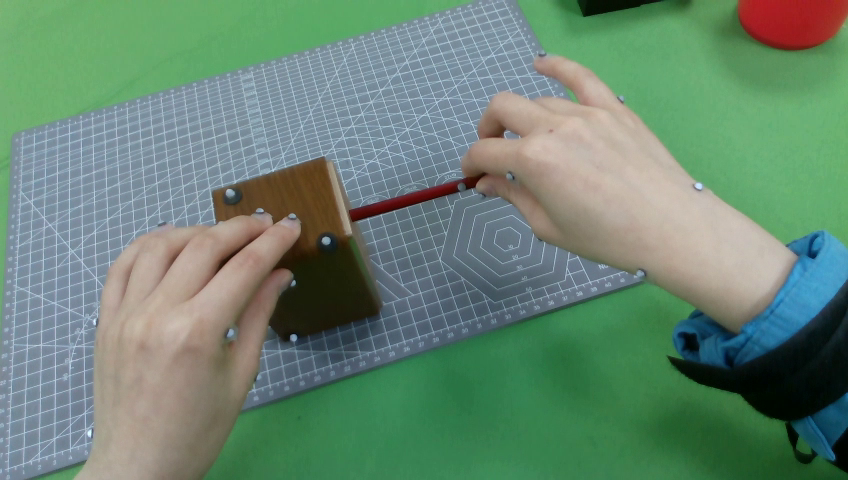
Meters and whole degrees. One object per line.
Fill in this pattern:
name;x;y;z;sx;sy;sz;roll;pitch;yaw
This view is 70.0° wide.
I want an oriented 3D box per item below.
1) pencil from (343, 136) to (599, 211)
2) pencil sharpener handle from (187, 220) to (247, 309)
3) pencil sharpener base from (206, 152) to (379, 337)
pencil;0.009;-0.034;0.351;0.194;0.012;0.012;-14;61;-6
pencil sharpener handle;-0.127;0.019;0.357;0.030;0.068;0.035;-18;54;-3
pencil sharpener base;-0.077;0.008;0.372;0.077;0.108;0.061;-17;61;-3
